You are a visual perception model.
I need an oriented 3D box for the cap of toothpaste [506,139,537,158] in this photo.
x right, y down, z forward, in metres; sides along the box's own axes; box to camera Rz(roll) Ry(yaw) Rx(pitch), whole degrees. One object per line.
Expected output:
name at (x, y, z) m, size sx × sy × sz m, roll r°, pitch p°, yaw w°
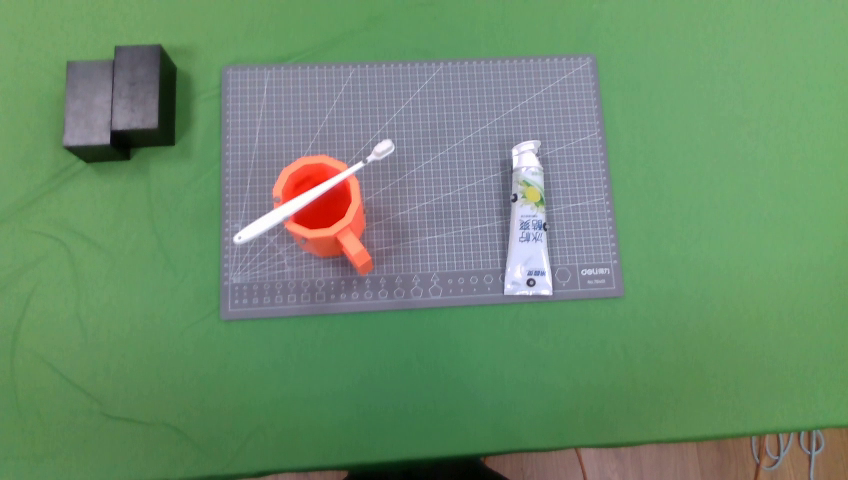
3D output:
cap of toothpaste at (0.114, -0.104, 0.699) m, size 0.037 × 0.037 × 0.011 m, roll -12°, pitch 75°, yaw -6°

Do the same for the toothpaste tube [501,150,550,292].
toothpaste tube at (0.113, -0.023, 0.688) m, size 0.055 × 0.034 × 0.164 m, roll -1°, pitch 82°, yaw 4°

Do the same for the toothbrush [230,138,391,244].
toothbrush at (-0.109, -0.049, 0.592) m, size 0.182 × 0.017 × 0.014 m, roll -33°, pitch 86°, yaw -9°

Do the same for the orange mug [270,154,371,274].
orange mug at (-0.100, -0.021, 0.640) m, size 0.083 × 0.101 × 0.125 m, roll -37°, pitch 78°, yaw -10°
